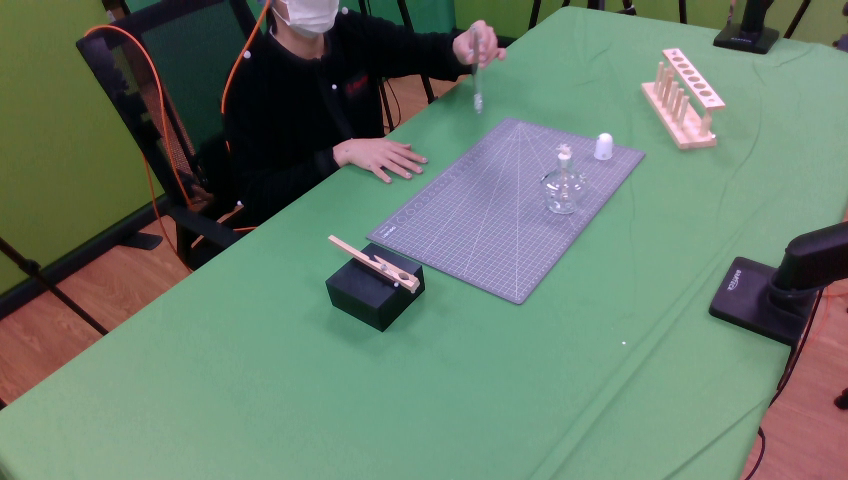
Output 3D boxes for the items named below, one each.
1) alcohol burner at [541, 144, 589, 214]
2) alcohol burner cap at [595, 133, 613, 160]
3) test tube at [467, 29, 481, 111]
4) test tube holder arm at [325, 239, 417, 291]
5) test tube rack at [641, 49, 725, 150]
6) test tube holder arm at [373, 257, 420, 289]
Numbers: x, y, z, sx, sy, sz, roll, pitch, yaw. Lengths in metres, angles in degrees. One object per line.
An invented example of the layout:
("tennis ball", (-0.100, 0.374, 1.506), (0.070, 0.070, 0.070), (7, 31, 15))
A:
("alcohol burner", (0.229, -0.102, 0.983), (0.078, 0.119, 0.077), (-6, 41, 5))
("alcohol burner cap", (0.330, -0.172, 1.104), (0.034, 0.048, 0.033), (-5, 41, 5))
("test tube", (0.088, -0.292, 1.051), (0.017, 0.151, 0.017), (-5, 41, 5))
("test tube holder arm", (-0.080, 0.034, 0.874), (0.177, 0.015, 0.013), (22, 49, 32))
("test tube rack", (0.495, -0.279, 1.175), (0.067, 0.085, 0.241), (-5, 41, 3))
("test tube holder arm", (-0.042, 0.046, 0.854), (0.087, 0.015, 0.010), (24, 50, 33))
